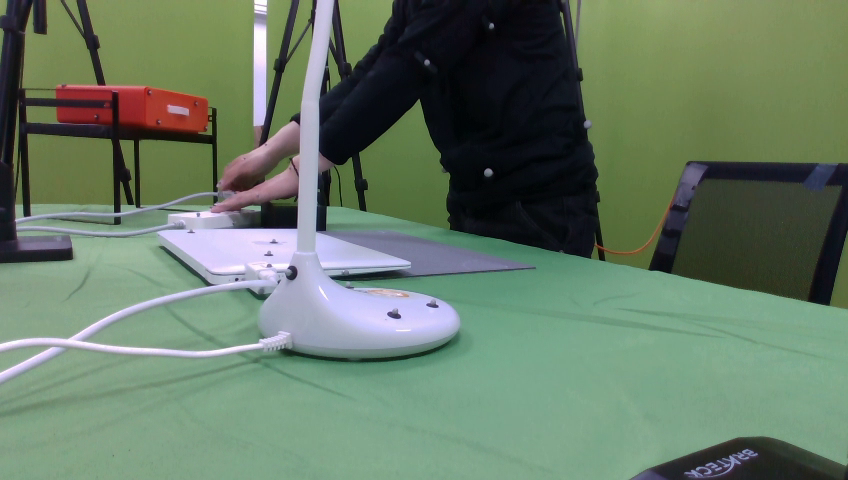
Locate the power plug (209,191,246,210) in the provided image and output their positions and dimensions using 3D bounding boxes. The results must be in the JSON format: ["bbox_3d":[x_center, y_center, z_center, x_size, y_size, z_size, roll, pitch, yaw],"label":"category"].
[{"bbox_3d":[-0.388,-0.072,1.204,0.072,0.052,0.035,6,9,25],"label":"power plug"}]

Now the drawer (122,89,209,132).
[{"bbox_3d":[-0.595,-0.268,1.263,0.211,0.073,0.195,4,8,15],"label":"drawer"}]

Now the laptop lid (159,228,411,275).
[{"bbox_3d":[-0.201,0.007,0.806,0.243,0.013,0.355,-1,8,-31],"label":"laptop lid"}]

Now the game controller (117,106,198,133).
[{"bbox_3d":[-0.555,-0.251,1.255,0.097,0.051,0.155,9,12,18],"label":"game controller"}]

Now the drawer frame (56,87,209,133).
[{"bbox_3d":[-0.598,-0.269,1.261,0.213,0.082,0.202,4,8,14],"label":"drawer frame"}]

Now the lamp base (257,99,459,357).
[{"bbox_3d":[-0.055,-0.014,0.463,0.160,0.180,0.180,6,11,27],"label":"lamp base"}]

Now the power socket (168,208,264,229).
[{"bbox_3d":[-0.381,-0.038,1.127,0.072,0.032,0.227,4,8,16],"label":"power socket"}]

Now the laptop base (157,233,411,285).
[{"bbox_3d":[-0.204,0.019,0.807,0.237,0.023,0.352,0,7,-33],"label":"laptop base"}]

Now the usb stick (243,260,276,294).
[{"bbox_3d":[-0.166,0.035,0.603,0.021,0.027,0.059,-8,8,-29],"label":"usb stick"}]
